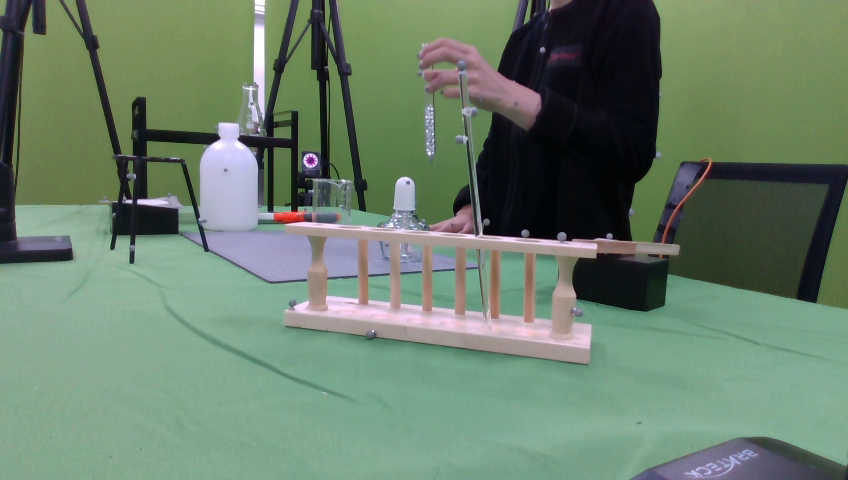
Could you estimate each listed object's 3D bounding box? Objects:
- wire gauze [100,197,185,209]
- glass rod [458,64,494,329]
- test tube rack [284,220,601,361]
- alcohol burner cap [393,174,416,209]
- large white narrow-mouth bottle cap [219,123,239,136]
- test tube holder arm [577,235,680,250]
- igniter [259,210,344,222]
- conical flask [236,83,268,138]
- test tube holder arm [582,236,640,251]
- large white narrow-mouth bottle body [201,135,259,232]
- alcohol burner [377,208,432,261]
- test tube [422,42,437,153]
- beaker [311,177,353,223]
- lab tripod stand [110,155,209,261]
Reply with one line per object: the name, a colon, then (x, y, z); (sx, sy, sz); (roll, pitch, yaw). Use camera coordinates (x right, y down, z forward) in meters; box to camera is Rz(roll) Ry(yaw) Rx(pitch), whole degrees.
wire gauze: (-0.469, -0.062, 1.008); (0.126, 0.011, 0.121); (-2, 8, -25)
glass rod: (0.039, -0.029, 0.449); (0.008, 0.199, 0.008); (-7, 9, 1)
test tube rack: (0.013, 0.032, 0.482); (0.242, 0.085, 0.067); (4, 7, 16)
alcohol burner cap: (-0.025, -0.067, 0.833); (0.034, 0.048, 0.034); (4, 12, -1)
large white narrow-mouth bottle cap: (-0.356, -0.201, 1.104); (0.038, 0.024, 0.037); (2, 8, 0)
test tube holder arm: (0.227, 0.004, 0.661); (0.179, 0.015, 0.013); (1, 12, -38)
igniter: (-0.303, -0.049, 1.258); (0.278, 0.025, 0.057); (-2, -2, -28)
conical flask: (-0.400, -0.298, 1.396); (0.075, 0.122, 0.075); (2, 8, 0)
test tube holder arm: (0.194, 0.004, 0.628); (0.088, 0.015, 0.010); (1, 12, -38)
large white narrow-mouth bottle body: (-0.358, -0.116, 1.116); (0.102, 0.194, 0.102); (2, 8, 0)
alcohol burner: (-0.027, -0.031, 0.838); (0.078, 0.119, 0.078); (0, 6, 0)
test tube: (0.007, -0.195, 0.835); (0.017, 0.150, 0.017); (-2, 14, 1)
beaker: (-0.167, -0.064, 1.106); (0.074, 0.100, 0.083); (-2, 9, -26)
lab tripod stand: (-0.361, -0.046, 0.806); (0.148, 0.131, 0.148); (2, 5, 0)
